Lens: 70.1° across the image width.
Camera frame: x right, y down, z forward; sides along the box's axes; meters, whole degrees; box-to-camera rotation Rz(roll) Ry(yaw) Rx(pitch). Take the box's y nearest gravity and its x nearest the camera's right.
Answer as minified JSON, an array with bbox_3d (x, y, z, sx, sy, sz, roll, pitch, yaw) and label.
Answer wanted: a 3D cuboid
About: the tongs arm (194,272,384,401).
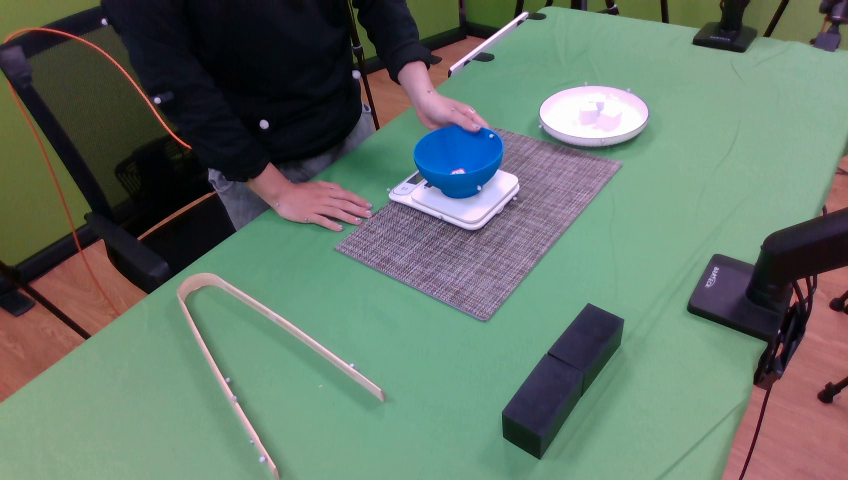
[{"bbox_3d":[-0.199,0.125,0.846,0.384,0.028,0.028,25,53,32],"label":"tongs arm"}]

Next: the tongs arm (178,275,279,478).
[{"bbox_3d":[-0.260,0.161,0.807,0.051,0.026,0.381,-29,44,-24],"label":"tongs arm"}]

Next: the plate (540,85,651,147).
[{"bbox_3d":[0.333,-0.238,1.186,0.207,0.039,0.206,-4,41,4],"label":"plate"}]

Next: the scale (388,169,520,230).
[{"bbox_3d":[0.050,-0.090,1.051,0.199,0.032,0.149,24,49,31],"label":"scale"}]

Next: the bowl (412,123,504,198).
[{"bbox_3d":[0.059,-0.123,1.007,0.151,0.077,0.150,-5,41,5],"label":"bowl"}]
